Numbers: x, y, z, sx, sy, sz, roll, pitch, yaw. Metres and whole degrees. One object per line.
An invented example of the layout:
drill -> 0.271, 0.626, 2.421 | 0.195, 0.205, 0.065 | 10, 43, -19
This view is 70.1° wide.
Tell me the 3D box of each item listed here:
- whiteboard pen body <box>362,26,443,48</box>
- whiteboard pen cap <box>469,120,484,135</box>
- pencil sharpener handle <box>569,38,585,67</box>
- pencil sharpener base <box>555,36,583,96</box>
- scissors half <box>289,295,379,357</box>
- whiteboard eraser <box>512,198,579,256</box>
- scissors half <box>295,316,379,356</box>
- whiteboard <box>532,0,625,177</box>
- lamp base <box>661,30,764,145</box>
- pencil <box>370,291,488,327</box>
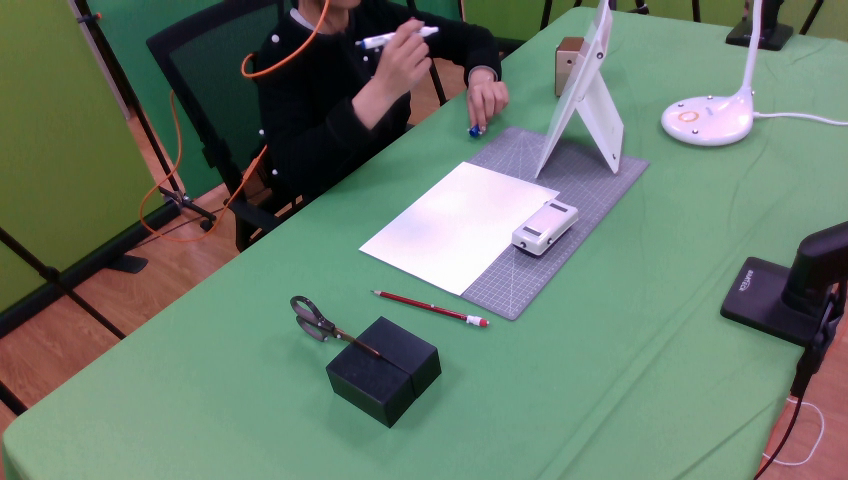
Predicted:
whiteboard pen body -> -0.034, -0.343, 1.013 | 0.141, 0.017, 0.017 | -15, 41, -11
whiteboard pen cap -> 0.105, -0.226, 1.219 | 0.018, 0.018, 0.033 | 25, 57, 33
pencil sharpener handle -> 0.332, -0.413, 1.317 | 0.036, 0.068, 0.030 | 19, 46, 13
pencil sharpener base -> 0.317, -0.371, 1.290 | 0.061, 0.107, 0.076 | 10, 43, 22
scissors half -> -0.122, 0.114, 0.803 | 0.174, 0.040, 0.013 | 26, 50, 32
whiteboard eraser -> 0.191, -0.019, 0.948 | 0.055, 0.042, 0.113 | 26, 51, 36
scissors half -> -0.119, 0.131, 0.813 | 0.174, 0.040, 0.013 | 9, 34, 45
whiteboard -> 0.320, -0.258, 1.050 | 0.144, 0.306, 0.217 | 21, 45, 4
lamp base -> 0.535, -0.287, 1.096 | 0.179, 0.181, 0.159 | -10, 40, -4
pencil -> 0.003, 0.097, 0.877 | 0.193, 0.012, 0.012 | 13, 45, 26
